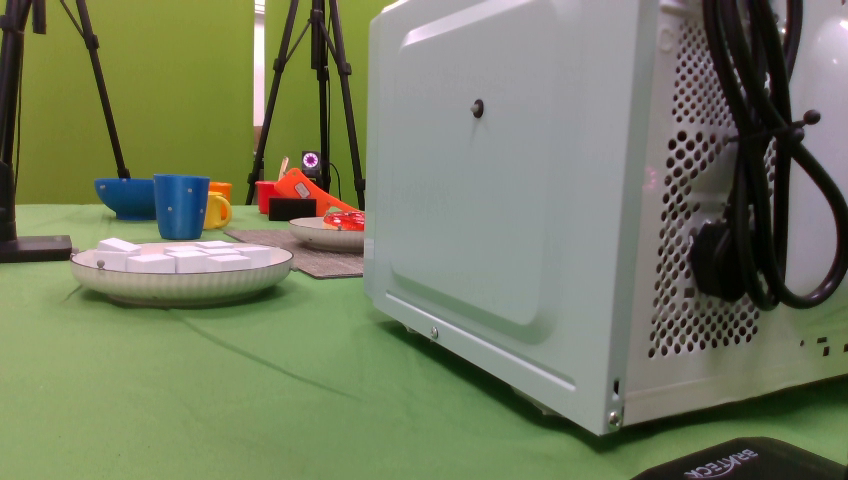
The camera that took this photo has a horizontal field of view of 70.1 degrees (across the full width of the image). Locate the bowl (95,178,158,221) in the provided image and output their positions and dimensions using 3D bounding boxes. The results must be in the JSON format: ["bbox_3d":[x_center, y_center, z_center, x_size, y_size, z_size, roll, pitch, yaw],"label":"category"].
[{"bbox_3d":[-0.576,-0.081,1.217,0.151,0.077,0.151,3,8,0],"label":"bowl"}]

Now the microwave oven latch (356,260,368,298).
[{"bbox_3d":[-0.019,0.033,0.530,0.079,0.029,0.030,0,7,-26],"label":"microwave oven latch"}]

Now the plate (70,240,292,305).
[{"bbox_3d":[-0.242,0.031,0.618,0.208,0.039,0.207,2,7,0],"label":"plate"}]

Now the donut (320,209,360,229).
[{"bbox_3d":[-0.115,-0.023,0.961,0.099,0.048,0.099,5,8,0],"label":"donut"}]

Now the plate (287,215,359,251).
[{"bbox_3d":[-0.111,-0.012,0.960,0.209,0.038,0.209,3,8,0],"label":"plate"}]

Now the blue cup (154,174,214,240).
[{"bbox_3d":[-0.391,-0.053,0.977,0.093,0.100,0.092,3,6,0],"label":"blue cup"}]

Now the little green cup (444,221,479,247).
[{"bbox_3d":[0.064,-0.011,1.034,0.061,0.038,0.061,1,9,0],"label":"little green cup"}]

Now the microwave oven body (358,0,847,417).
[{"bbox_3d":[0.211,-0.047,0.474,0.444,0.260,0.324,-1,8,-28],"label":"microwave oven body"}]

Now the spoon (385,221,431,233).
[{"bbox_3d":[-0.024,-0.029,1.188,0.041,0.021,0.194,-15,-1,22],"label":"spoon"}]

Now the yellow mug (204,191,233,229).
[{"bbox_3d":[-0.415,-0.057,1.131,0.130,0.064,0.100,6,8,16],"label":"yellow mug"}]

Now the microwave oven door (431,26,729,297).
[{"bbox_3d":[0.178,-0.073,0.627,0.358,0.243,0.039,-1,8,-26],"label":"microwave oven door"}]

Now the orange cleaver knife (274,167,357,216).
[{"bbox_3d":[-0.238,-0.090,1.381,0.212,0.077,0.012,31,0,-19],"label":"orange cleaver knife"}]

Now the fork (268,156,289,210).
[{"bbox_3d":[-0.360,-0.144,1.508,0.028,0.018,0.207,1,49,0],"label":"fork"}]
